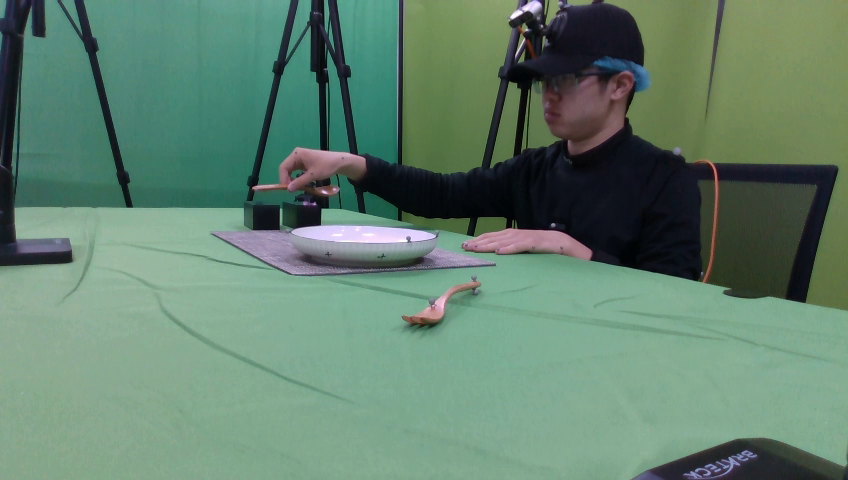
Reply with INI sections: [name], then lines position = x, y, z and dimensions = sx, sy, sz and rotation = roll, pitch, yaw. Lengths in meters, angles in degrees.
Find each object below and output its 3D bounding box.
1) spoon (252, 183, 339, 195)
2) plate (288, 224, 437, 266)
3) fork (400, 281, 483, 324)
[spoon]
position = -0.254, -0.106, 1.212
dimensions = 0.195, 0.021, 0.041
rotation = 0, 26, -43
[plate]
position = -0.086, 0.007, 0.852
dimensions = 0.208, 0.039, 0.207
rotation = 2, 7, 0
[fork]
position = 0.025, 0.057, 0.590
dimensions = 0.028, 0.018, 0.208
rotation = -2, 7, 21
